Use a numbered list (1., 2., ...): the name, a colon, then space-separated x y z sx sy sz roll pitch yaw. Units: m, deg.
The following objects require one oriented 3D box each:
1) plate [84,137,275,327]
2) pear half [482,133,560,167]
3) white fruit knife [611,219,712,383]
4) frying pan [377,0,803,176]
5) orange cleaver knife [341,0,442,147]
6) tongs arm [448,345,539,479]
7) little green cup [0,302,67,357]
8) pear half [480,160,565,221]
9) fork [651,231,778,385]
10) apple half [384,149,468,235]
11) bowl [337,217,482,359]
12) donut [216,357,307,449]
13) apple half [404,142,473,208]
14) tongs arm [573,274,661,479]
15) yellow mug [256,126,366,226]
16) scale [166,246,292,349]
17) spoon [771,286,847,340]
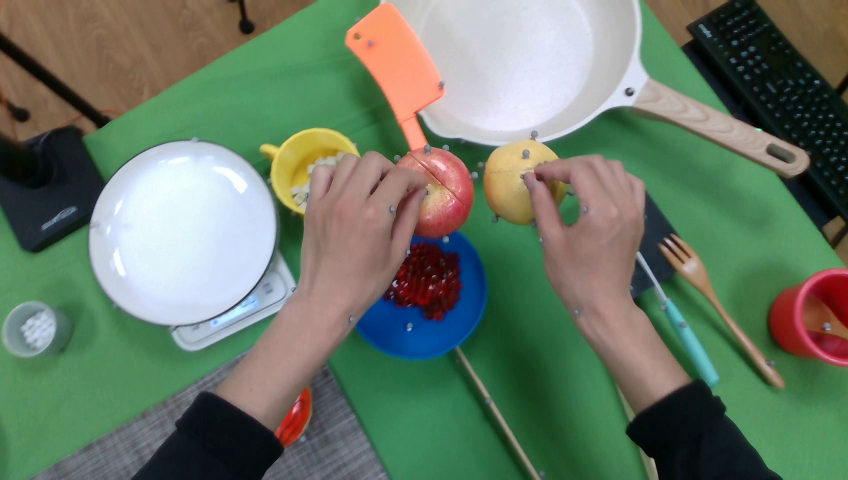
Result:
1. plate: -0.264 -0.009 0.669 0.209 0.038 0.208 0 80 2
2. pear half: 0.086 -0.081 0.550 0.070 0.088 0.031 -11 93 2
3. white fruit knife: 0.251 0.067 0.643 0.016 0.027 0.208 -33 95 -3
4. frying pan: 0.178 -0.190 0.677 0.485 0.103 0.306 31 84 15
5. orange cleaver knife: -0.021 -0.168 0.664 0.077 0.012 0.210 -26 81 1
6. tongs arm: 0.145 0.259 0.638 0.051 0.026 0.383 -31 82 -7
7. little green cup: -0.442 0.102 0.688 0.061 0.039 0.061 0 80 3
8. pear half: 0.091 -0.046 0.541 0.076 0.110 0.056 -11 91 2
9. fork: 0.313 0.075 0.647 0.028 0.018 0.208 -40 96 -6
10. apple half: -0.005 -0.035 0.551 0.081 0.075 0.053 43 89 2
11. bowl: -0.013 0.053 0.658 0.151 0.077 0.151 0 81 2
12. donut: -0.176 0.176 0.657 0.099 0.048 0.098 -1 82 4
13. apple half: 0.021 -0.064 0.552 0.081 0.081 0.033 43 89 9
14. tongs arm: 0.223 0.221 0.644 0.028 0.028 0.386 -16 81 -8
15. yellow mug: -0.134 -0.078 0.691 0.130 0.064 0.100 26 83 8
16. scale: -0.255 0.010 0.699 0.149 0.031 0.200 -27 81 -2
17. spoon: 0.430 0.103 0.596 0.041 0.022 0.191 -36 36 -4
